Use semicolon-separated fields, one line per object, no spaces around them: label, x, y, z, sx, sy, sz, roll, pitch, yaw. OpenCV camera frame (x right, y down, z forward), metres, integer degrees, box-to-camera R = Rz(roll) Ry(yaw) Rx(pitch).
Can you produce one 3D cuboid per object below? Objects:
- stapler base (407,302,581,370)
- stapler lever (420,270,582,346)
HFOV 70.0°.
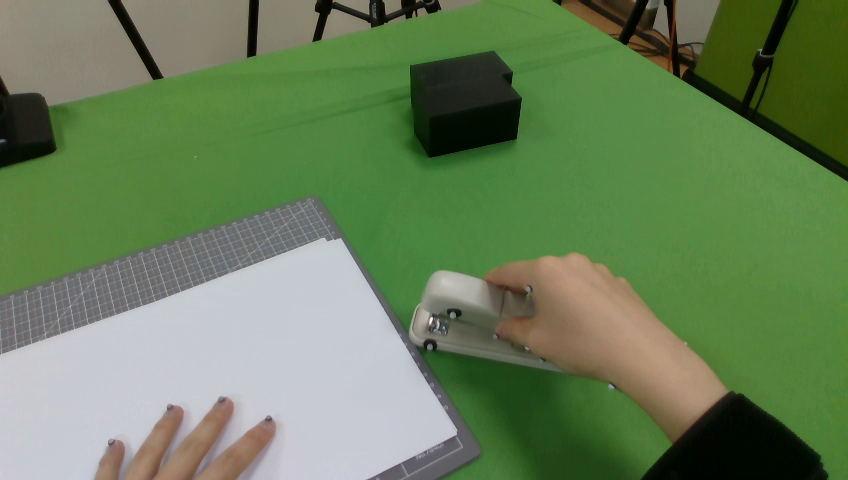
stapler base;0.054;0.065;0.450;0.130;0.024;0.041;9;51;4
stapler lever;0.056;0.048;0.431;0.118;0.040;0.026;9;51;4
